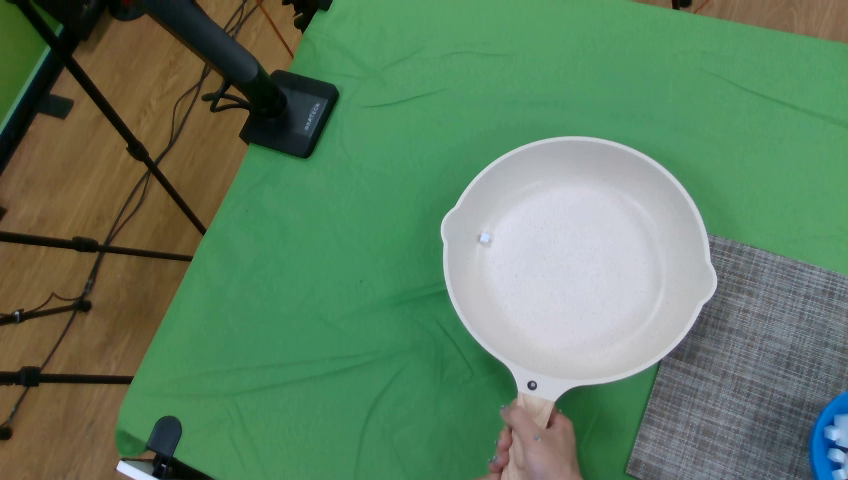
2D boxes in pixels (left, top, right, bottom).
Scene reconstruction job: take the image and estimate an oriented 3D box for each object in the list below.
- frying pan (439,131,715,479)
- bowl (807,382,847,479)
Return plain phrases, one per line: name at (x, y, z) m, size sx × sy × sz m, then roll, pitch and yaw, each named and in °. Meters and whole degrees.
frying pan at (0.136, 0.107, 0.668) m, size 0.305 × 0.103 × 0.485 m, roll 14°, pitch 67°, yaw 15°
bowl at (0.453, 0.214, 0.602) m, size 0.151 × 0.077 × 0.150 m, roll -3°, pitch 72°, yaw 11°
